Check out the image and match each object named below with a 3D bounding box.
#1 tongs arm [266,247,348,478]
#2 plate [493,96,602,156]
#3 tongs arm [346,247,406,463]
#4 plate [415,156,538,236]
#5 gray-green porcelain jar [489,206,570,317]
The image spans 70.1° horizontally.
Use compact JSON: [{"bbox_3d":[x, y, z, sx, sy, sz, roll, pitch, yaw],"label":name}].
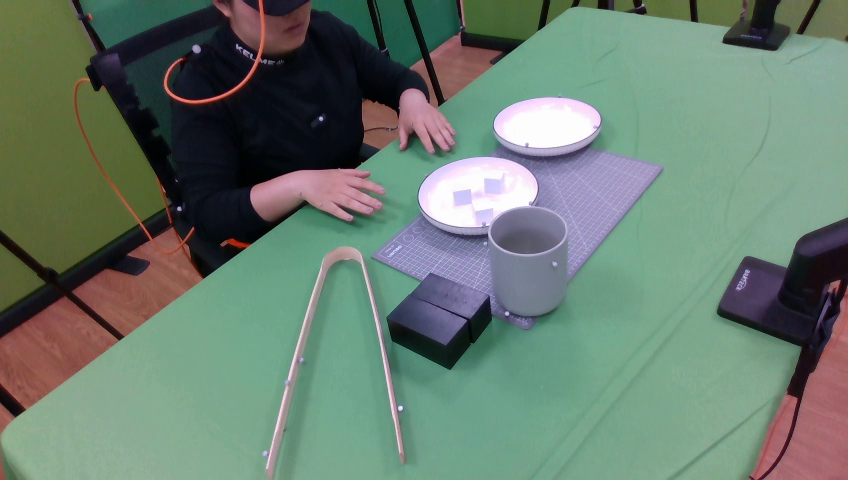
[{"bbox_3d":[-0.151,0.143,0.831,0.051,0.026,0.383,-5,39,5],"label":"tongs arm"},{"bbox_3d":[0.238,-0.218,1.179,0.209,0.038,0.208,-4,39,4],"label":"plate"},{"bbox_3d":[-0.069,0.133,0.832,0.028,0.028,0.384,-16,40,-4],"label":"tongs arm"},{"bbox_3d":[0.090,-0.072,1.034,0.207,0.039,0.206,-5,40,5],"label":"plate"},{"bbox_3d":[0.145,0.034,0.829,0.106,0.127,0.105,-5,40,5],"label":"gray-green porcelain jar"}]
